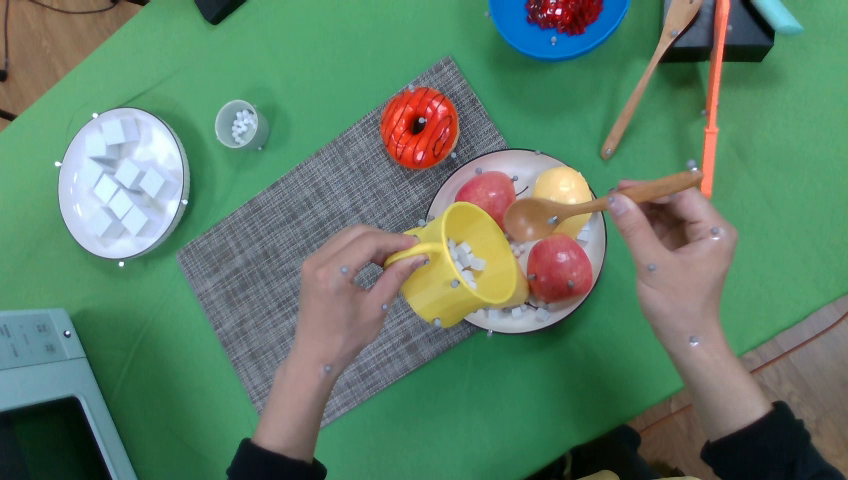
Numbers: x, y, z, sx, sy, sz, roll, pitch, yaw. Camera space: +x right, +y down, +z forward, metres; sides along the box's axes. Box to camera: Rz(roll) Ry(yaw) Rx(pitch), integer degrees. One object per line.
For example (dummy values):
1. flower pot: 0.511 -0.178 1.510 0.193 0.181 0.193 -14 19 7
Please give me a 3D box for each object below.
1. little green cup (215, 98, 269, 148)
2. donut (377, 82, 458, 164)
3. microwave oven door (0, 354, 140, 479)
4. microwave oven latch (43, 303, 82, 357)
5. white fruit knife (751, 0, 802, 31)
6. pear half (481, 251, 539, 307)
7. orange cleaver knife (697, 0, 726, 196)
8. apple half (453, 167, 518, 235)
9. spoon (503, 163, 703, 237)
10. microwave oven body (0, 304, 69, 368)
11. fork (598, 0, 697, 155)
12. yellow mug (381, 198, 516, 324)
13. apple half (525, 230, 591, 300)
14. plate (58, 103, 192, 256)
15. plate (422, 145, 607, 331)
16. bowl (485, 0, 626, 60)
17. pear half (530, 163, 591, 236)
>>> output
1. little green cup: -0.235 -0.149 0.788 0.061 0.039 0.061 -1 87 16
2. donut: -0.009 -0.138 0.718 0.099 0.048 0.099 0 90 17
3. microwave oven door: -0.428 0.310 0.698 0.039 0.245 0.354 -31 80 12
4. microwave oven latch: -0.502 0.125 0.831 0.030 0.029 0.079 -28 81 12
5. white fruit knife: 0.305 -0.290 0.606 0.027 0.016 0.206 -26 78 -17
6. pear half: 0.082 0.045 0.675 0.109 0.056 0.076 30 100 9
7. orange cleaver knife: 0.294 -0.152 0.621 0.012 0.077 0.212 4 114 20
8. apple half: 0.070 -0.041 0.679 0.074 0.053 0.080 -16 87 15
9. spoon: 0.129 -0.030 0.475 0.021 0.193 0.042 -31 100 -29
10. microwave oven body: -0.569 0.347 0.740 0.326 0.261 0.440 -31 81 11
11. fork: 0.234 -0.182 0.635 0.028 0.018 0.208 26 115 7
12. yellow mug: 0.018 0.018 0.542 0.064 0.132 0.099 -31 65 37
13. apple half: 0.138 0.029 0.657 0.081 0.033 0.081 5 100 34
14. plate: -0.405 -0.081 0.832 0.207 0.039 0.207 -1 88 15
15. plate: 0.100 -0.002 0.687 0.208 0.038 0.209 -1 87 15
16. bowl: 0.147 -0.264 0.668 0.151 0.077 0.151 -1 88 15
17. pear half: 0.144 -0.039 0.662 0.070 0.031 0.088 -1 97 38
